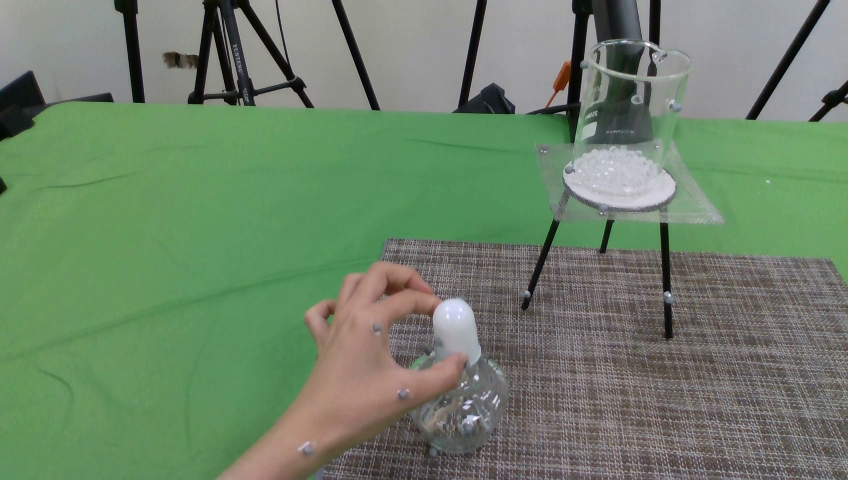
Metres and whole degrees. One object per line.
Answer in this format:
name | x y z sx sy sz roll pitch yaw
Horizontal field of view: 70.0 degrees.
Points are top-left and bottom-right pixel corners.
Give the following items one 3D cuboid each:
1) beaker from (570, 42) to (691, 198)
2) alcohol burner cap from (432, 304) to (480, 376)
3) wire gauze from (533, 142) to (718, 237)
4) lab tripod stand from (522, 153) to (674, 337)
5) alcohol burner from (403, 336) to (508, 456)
beaker | 0.154 -0.091 0.464 0.073 0.101 0.084 28 46 30
alcohol burner cap | 0.019 0.064 0.406 0.034 0.048 0.033 -5 38 4
wire gauze | 0.156 -0.047 0.488 0.125 0.011 0.120 3 40 -1
lab tripod stand | 0.163 0.003 0.531 0.148 0.132 0.147 0 37 0
alcohol burner | 0.023 0.098 0.430 0.078 0.120 0.077 0 39 1
